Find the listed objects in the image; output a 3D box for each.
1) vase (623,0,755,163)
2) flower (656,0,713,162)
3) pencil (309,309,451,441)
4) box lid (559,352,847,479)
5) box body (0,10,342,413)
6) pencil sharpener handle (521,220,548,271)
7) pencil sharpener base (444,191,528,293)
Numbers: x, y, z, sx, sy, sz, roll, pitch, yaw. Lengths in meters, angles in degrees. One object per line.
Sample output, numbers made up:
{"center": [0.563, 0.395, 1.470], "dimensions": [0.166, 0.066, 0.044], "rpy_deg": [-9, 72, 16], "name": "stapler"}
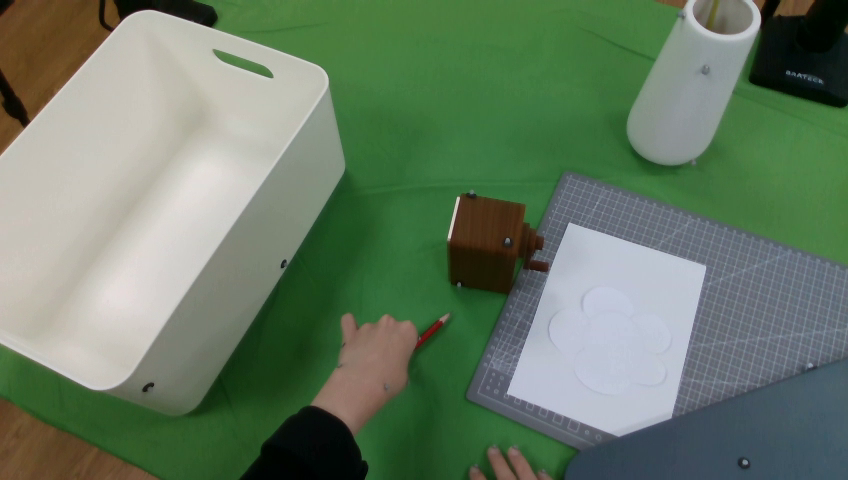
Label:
{"center": [0.281, -0.171, 0.654], "dimensions": [0.098, 0.201, 0.097], "rpy_deg": [-2, 62, 4], "name": "vase"}
{"center": [0.275, -0.222, 0.586], "dimensions": [0.044, 0.365, 0.038], "rpy_deg": [14, 47, 14], "name": "flower"}
{"center": [-0.041, 0.135, 0.624], "dimensions": [0.194, 0.012, 0.012], "rpy_deg": [-41, 68, -16], "name": "pencil"}
{"center": [0.335, 0.263, 0.539], "dimensions": [0.372, 0.015, 0.261], "rpy_deg": [-18, 65, -5], "name": "box lid"}
{"center": [-0.275, -0.031, 0.637], "dimensions": [0.253, 0.161, 0.362], "rpy_deg": [21, 67, 13], "name": "box body"}
{"center": [0.114, 0.009, 0.612], "dimensions": [0.030, 0.068, 0.035], "rpy_deg": [9, 57, 8], "name": "pencil sharpener handle"}
{"center": [0.065, 0.005, 0.630], "dimensions": [0.076, 0.108, 0.061], "rpy_deg": [9, 64, 8], "name": "pencil sharpener base"}
